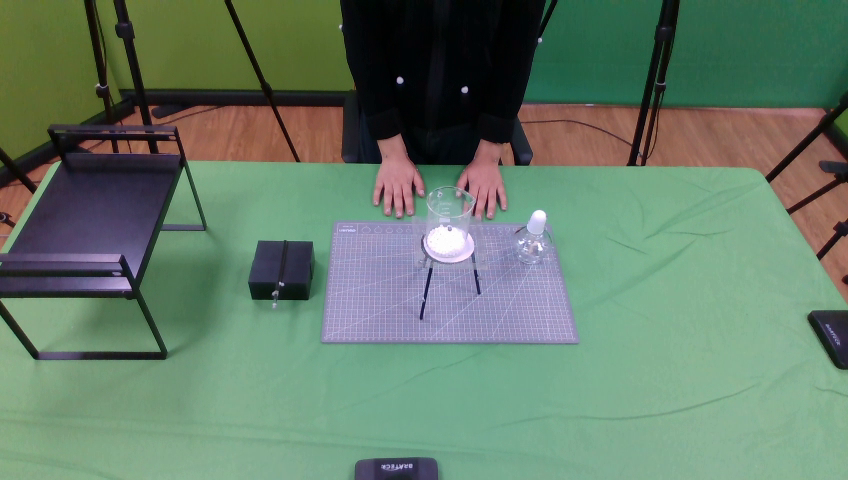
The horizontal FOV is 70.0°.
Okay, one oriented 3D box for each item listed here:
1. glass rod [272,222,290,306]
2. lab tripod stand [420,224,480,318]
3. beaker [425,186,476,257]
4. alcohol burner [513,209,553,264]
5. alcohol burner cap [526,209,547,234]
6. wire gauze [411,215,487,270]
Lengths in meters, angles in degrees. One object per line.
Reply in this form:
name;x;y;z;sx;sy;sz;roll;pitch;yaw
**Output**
glass rod;-0.255;0.039;1.084;0.008;0.008;0.198;1;46;-3
lab tripod stand;0.034;0.051;1.070;0.148;0.132;0.147;3;48;-3
beaker;0.041;-0.028;0.989;0.084;0.101;0.073;-12;48;-15
alcohol burner;0.210;-0.012;1.158;0.078;0.120;0.077;1;45;-1
alcohol burner cap;0.212;-0.037;1.133;0.034;0.048;0.033;4;51;-5
wire gauze;0.041;0.003;1.026;0.125;0.011;0.120;0;46;-1
